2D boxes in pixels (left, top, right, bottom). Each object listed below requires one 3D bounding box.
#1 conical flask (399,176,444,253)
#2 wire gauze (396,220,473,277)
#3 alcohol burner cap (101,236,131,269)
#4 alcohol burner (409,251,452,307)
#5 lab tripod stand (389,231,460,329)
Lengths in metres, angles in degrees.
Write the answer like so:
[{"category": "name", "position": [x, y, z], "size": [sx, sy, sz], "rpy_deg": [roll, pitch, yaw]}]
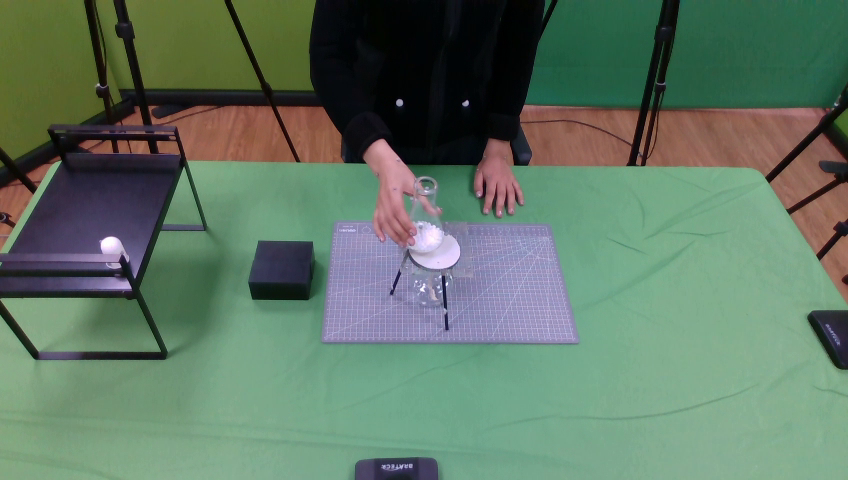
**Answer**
[{"category": "conical flask", "position": [-0.001, -0.044, 0.961], "size": [0.075, 0.122, 0.075], "rpy_deg": [2, 46, -2]}, {"category": "wire gauze", "position": [0.016, 0.012, 1.013], "size": [0.125, 0.011, 0.120], "rpy_deg": [1, 47, -5]}, {"category": "alcohol burner cap", "position": [-0.451, 0.016, 0.883], "size": [0.034, 0.048, 0.033], "rpy_deg": [2, 45, -2]}, {"category": "alcohol burner", "position": [0.013, 0.063, 1.072], "size": [0.078, 0.119, 0.077], "rpy_deg": [4, 45, -3]}, {"category": "lab tripod stand", "position": [0.015, 0.063, 1.058], "size": [0.148, 0.132, 0.147], "rpy_deg": [4, 46, -4]}]
